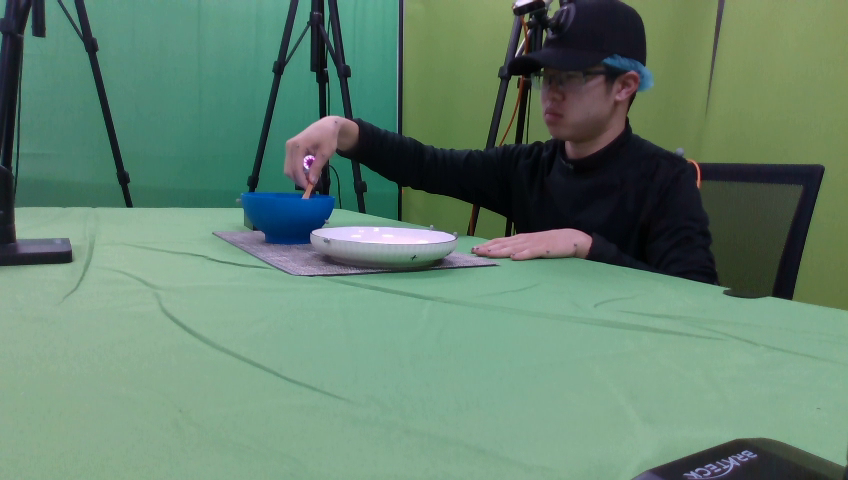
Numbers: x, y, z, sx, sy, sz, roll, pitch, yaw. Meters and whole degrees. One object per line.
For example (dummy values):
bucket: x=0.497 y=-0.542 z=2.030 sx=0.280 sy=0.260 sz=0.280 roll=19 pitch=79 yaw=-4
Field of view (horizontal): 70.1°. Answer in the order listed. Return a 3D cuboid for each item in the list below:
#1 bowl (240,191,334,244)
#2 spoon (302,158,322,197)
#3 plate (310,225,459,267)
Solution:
bowl: x=-0.223 y=-0.037 z=0.992 sx=0.151 sy=0.077 sz=0.151 roll=2 pitch=7 yaw=0
spoon: x=-0.199 y=-0.085 z=1.037 sx=0.042 sy=0.021 sz=0.193 roll=23 pitch=44 yaw=-12
plate: x=-0.055 y=0.008 z=0.851 sx=0.208 sy=0.039 sz=0.207 roll=2 pitch=7 yaw=0
